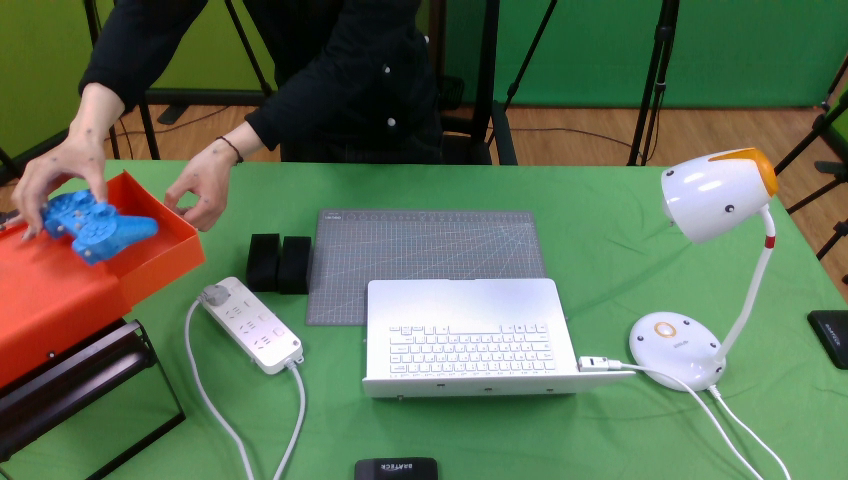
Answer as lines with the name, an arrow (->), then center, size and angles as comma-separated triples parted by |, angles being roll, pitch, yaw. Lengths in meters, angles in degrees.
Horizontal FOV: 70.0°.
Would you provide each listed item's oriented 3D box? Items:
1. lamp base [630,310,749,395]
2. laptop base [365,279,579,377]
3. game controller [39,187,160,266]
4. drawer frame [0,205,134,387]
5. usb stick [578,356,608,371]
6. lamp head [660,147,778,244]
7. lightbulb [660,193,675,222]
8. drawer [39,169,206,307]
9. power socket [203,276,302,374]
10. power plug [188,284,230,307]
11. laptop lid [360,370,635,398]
lamp base -> 0.447, 0.142, 0.984 | 0.161, 0.181, 0.178 | -24, 55, -24
laptop base -> 0.076, 0.162, 1.053 | 0.355, 0.023, 0.234 | 0, 44, -4
game controller -> -0.429, -0.028, 0.789 | 0.154, 0.052, 0.097 | 25, 56, 31
drawer frame -> -0.536, 0.073, 0.798 | 0.200, 0.083, 0.213 | 36, 54, 26
usb stick -> 0.273, 0.207, 1.007 | 0.059, 0.027, 0.021 | 0, 52, 0
lamp head -> 0.389, -0.063, 0.785 | 0.123, 0.113, 0.112 | -22, 33, 37
lightbulb -> 0.366, -0.060, 0.806 | 0.060, 0.107, 0.059 | 16, 61, -31
drawer -> -0.458, 0.013, 0.862 | 0.193, 0.073, 0.211 | 35, 55, 25
power socket -> -0.297, 0.141, 1.034 | 0.072, 0.033, 0.225 | -34, 58, -31
power plug -> -0.368, 0.100, 1.036 | 0.072, 0.053, 0.035 | -26, 52, -23
laptop lid -> 0.090, 0.208, 0.863 | 0.357, 0.242, 0.013 | 0, 71, -6
